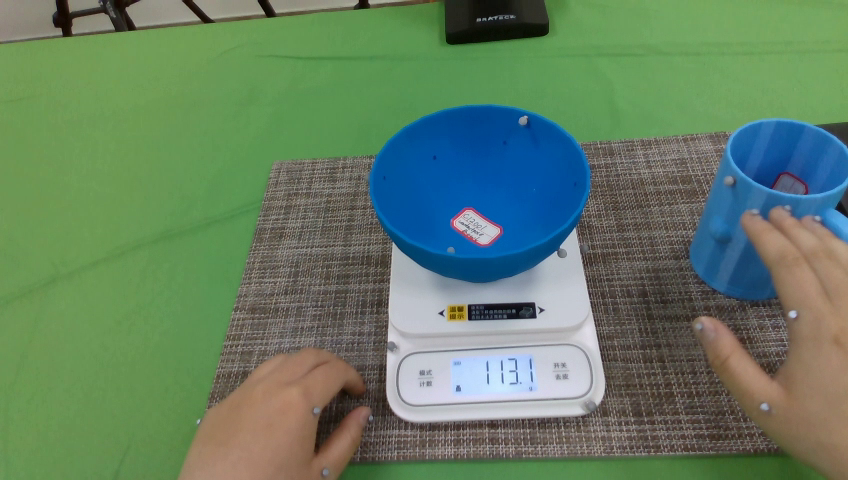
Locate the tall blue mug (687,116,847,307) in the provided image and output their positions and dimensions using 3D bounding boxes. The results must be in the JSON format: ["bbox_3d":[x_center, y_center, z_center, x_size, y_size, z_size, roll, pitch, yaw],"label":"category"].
[{"bbox_3d":[0.250,-0.014,0.422,0.106,0.109,0.077,30,59,28],"label":"tall blue mug"}]

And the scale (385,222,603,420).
[{"bbox_3d":[0.047,0.035,0.458,0.148,0.032,0.199,-3,50,5],"label":"scale"}]

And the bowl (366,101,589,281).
[{"bbox_3d":[0.038,-0.023,0.438,0.151,0.077,0.150,-3,50,4],"label":"bowl"}]
